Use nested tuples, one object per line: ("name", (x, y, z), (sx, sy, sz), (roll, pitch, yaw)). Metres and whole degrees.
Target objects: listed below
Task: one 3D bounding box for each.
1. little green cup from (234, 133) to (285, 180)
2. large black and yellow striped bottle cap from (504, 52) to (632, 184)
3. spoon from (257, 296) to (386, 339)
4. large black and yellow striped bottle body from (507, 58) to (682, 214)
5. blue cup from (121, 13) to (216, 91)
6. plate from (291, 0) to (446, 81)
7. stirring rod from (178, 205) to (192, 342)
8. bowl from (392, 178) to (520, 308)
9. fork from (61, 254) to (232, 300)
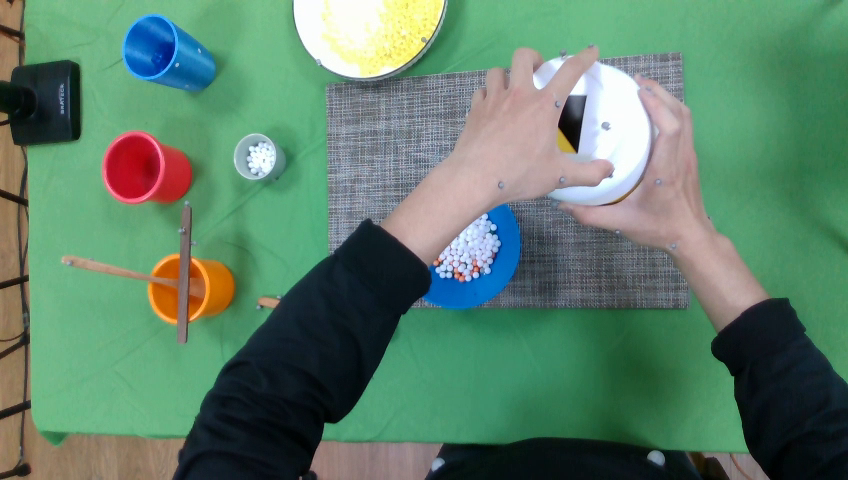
("little green cup", (-0.220, -0.110, 0.820), (0.061, 0.039, 0.061), (0, 89, 14))
("large black and yellow striped bottle cap", (0.124, -0.108, 0.535), (0.114, 0.019, 0.114), (-4, 83, 36))
("spoon", (-0.139, 0.095, 0.804), (0.193, 0.021, 0.042), (10, 104, 13))
("large black and yellow striped bottle body", (0.171, -0.101, 0.604), (0.130, 0.185, 0.130), (-4, 82, 34))
("blue cup", (-0.336, -0.244, 0.817), (0.092, 0.100, 0.092), (0, 89, 15))
("plate", (-0.071, -0.308, 0.790), (0.208, 0.038, 0.209), (0, 89, 13))
("stirring rod", (-0.306, 0.043, 0.776), (0.014, 0.006, 0.176), (1, 89, 12))
("bowl", (0.044, 0.005, 0.732), (0.151, 0.077, 0.151), (0, 89, 13))
("fork", (-0.356, 0.048, 0.791), (0.209, 0.018, 0.028), (16, 95, -30))
